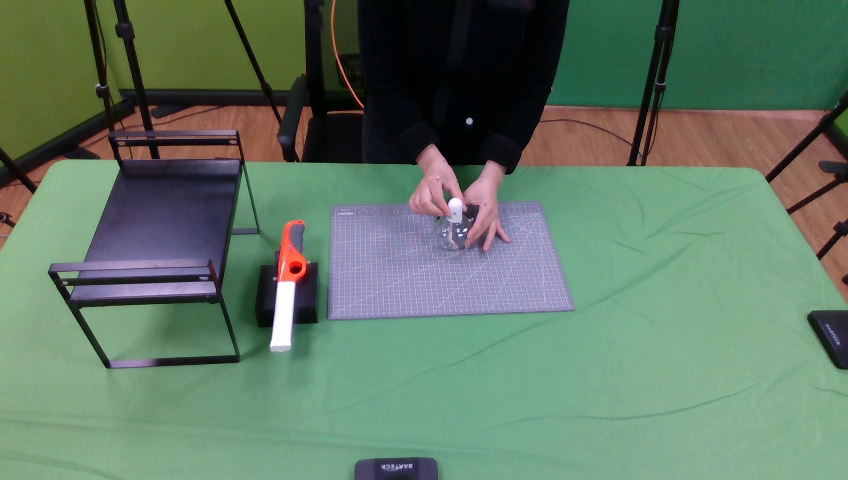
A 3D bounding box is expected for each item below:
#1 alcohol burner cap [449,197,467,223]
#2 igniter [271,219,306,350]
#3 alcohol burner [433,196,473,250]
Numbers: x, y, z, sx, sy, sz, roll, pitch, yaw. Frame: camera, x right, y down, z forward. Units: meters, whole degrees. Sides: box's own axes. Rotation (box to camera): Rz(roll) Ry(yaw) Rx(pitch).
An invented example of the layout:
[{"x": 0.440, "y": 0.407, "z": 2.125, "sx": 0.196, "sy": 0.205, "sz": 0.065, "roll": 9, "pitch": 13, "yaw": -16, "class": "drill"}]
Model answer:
[{"x": 0.062, "y": -0.060, "z": 1.146, "sx": 0.034, "sy": 0.048, "sz": 0.033, "roll": -9, "pitch": 42, "yaw": 9, "class": "alcohol burner cap"}, {"x": -0.235, "y": 0.067, "z": 1.047, "sx": 0.057, "sy": 0.025, "sz": 0.274, "roll": 0, "pitch": 49, "yaw": -6, "class": "igniter"}, {"x": 0.058, "y": -0.038, "z": 1.170, "sx": 0.078, "sy": 0.119, "sz": 0.077, "roll": 3, "pitch": 44, "yaw": -3, "class": "alcohol burner"}]
